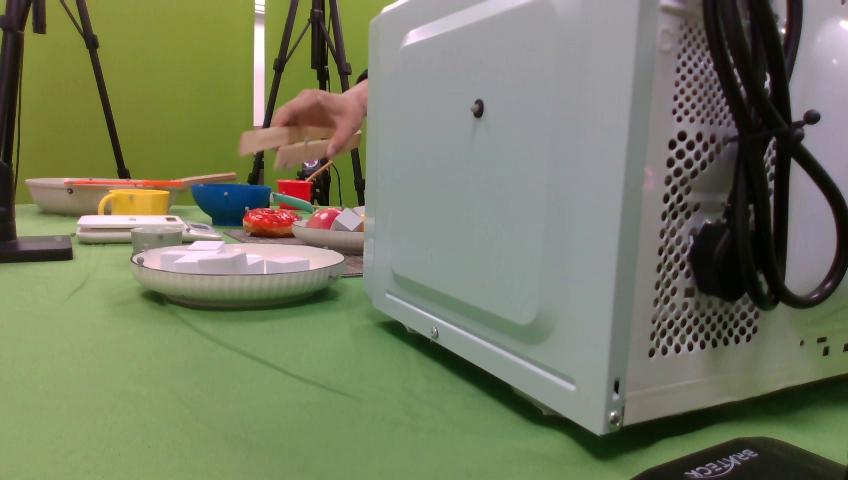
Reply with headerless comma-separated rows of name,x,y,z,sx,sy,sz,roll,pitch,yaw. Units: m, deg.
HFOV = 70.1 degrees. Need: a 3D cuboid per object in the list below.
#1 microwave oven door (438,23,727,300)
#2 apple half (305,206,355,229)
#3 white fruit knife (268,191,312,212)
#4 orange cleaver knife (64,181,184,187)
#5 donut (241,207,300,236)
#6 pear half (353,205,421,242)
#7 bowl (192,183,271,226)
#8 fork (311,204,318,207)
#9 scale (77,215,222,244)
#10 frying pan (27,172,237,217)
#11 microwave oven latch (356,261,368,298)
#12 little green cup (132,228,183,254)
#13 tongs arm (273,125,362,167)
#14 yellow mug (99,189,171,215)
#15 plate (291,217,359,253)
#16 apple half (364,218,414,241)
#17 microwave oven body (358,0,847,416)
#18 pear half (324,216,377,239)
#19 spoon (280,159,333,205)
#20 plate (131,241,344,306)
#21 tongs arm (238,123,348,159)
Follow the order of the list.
microwave oven door,0.181,-0.073,0.621,0.358,0.243,0.039,-2,8,-29
apple half,-0.138,-0.025,0.917,0.081,0.053,0.074,0,10,-43
white fruit knife,-0.364,-0.105,1.464,0.208,0.027,0.016,15,-1,-34
orange cleaver knife,-0.596,-0.113,1.212,0.212,0.012,0.077,-3,7,-41
donut,-0.263,-0.031,1.039,0.099,0.048,0.099,5,9,0
pear half,-0.051,-0.024,0.905,0.110,0.056,0.076,2,-2,-38
bowl,-0.382,-0.071,1.202,0.151,0.077,0.151,3,7,0
fork,-0.356,-0.105,1.526,0.208,0.018,0.028,16,-5,-41
scale,-0.434,-0.019,0.963,0.202,0.031,0.148,-1,9,-27
frying pan,-0.624,-0.118,1.387,0.305,0.102,0.490,8,18,32
microwave oven latch,-0.019,0.033,0.530,0.079,0.029,0.030,0,7,-26
little green cup,-0.342,0.006,0.779,0.061,0.038,0.061,2,8,0
tongs arm,-0.143,-0.136,0.838,0.051,0.026,0.385,14,15,8
yellow mug,-0.519,-0.055,1.080,0.099,0.064,0.131,7,9,26
plate,-0.103,-0.009,0.945,0.209,0.038,0.209,2,7,0
apple half,-0.053,-0.019,0.966,0.081,0.033,0.081,-2,10,1
microwave oven body,0.211,-0.047,0.475,0.444,0.260,0.324,-1,7,-28
pear half,-0.119,-0.023,0.996,0.088,0.031,0.070,-3,22,-27
spoon,-0.317,-0.159,1.640,0.194,0.022,0.041,-49,32,-20
plate,-0.187,0.033,0.625,0.208,0.039,0.207,2,8,0
tongs arm,-0.170,-0.143,0.840,0.028,0.028,0.388,10,14,6
